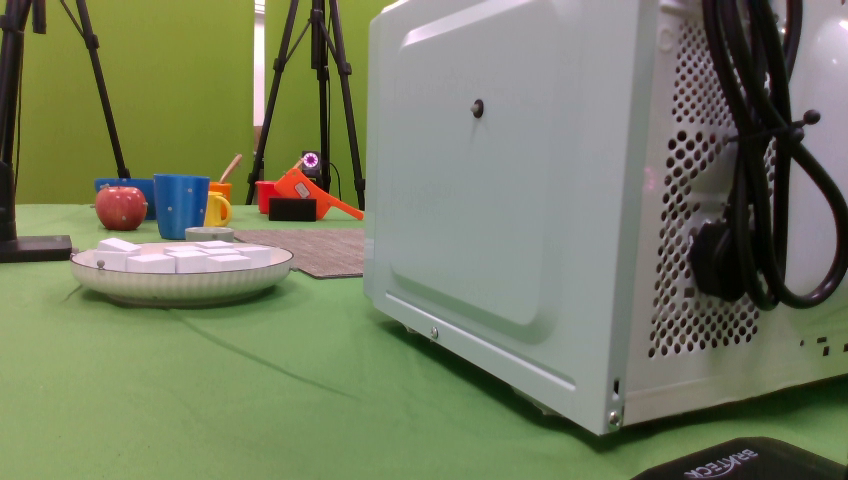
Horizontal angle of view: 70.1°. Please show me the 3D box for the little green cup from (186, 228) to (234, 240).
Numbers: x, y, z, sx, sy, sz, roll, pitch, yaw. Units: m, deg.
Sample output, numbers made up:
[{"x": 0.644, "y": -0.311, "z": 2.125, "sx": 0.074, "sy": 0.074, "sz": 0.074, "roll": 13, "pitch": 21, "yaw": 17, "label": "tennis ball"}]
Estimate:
[{"x": -0.285, "y": 0.005, "z": 0.805, "sx": 0.061, "sy": 0.038, "sz": 0.061, "roll": 2, "pitch": 8, "yaw": 0, "label": "little green cup"}]

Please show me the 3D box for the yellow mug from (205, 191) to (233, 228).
[{"x": -0.415, "y": -0.057, "z": 1.131, "sx": 0.130, "sy": 0.064, "sz": 0.100, "roll": 6, "pitch": 8, "yaw": 16, "label": "yellow mug"}]

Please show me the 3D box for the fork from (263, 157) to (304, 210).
[{"x": -0.345, "y": -0.143, "z": 1.506, "sx": 0.028, "sy": 0.019, "sz": 0.207, "roll": -3, "pitch": 46, "yaw": 28, "label": "fork"}]

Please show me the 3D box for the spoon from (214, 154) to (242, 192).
[{"x": -0.439, "y": -0.124, "z": 1.318, "sx": 0.041, "sy": 0.193, "sz": 0.022, "roll": 5, "pitch": -36, "yaw": 16, "label": "spoon"}]

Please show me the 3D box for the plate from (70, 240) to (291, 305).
[{"x": -0.242, "y": 0.031, "z": 0.618, "sx": 0.208, "sy": 0.039, "sz": 0.207, "roll": 2, "pitch": 8, "yaw": 0, "label": "plate"}]

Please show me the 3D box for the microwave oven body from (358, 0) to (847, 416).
[{"x": 0.210, "y": -0.047, "z": 0.475, "sx": 0.444, "sy": 0.260, "sz": 0.324, "roll": -1, "pitch": 7, "yaw": -28, "label": "microwave oven body"}]

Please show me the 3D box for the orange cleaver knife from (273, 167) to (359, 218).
[{"x": -0.238, "y": -0.090, "z": 1.381, "sx": 0.212, "sy": 0.077, "sz": 0.012, "roll": 31, "pitch": 0, "yaw": -19, "label": "orange cleaver knife"}]

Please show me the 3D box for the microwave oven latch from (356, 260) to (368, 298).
[{"x": -0.020, "y": 0.033, "z": 0.529, "sx": 0.079, "sy": 0.029, "sz": 0.030, "roll": 0, "pitch": 7, "yaw": -24, "label": "microwave oven latch"}]

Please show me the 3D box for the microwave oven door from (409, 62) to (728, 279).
[{"x": 0.163, "y": -0.086, "z": 0.725, "sx": 0.355, "sy": 0.243, "sz": 0.039, "roll": 3, "pitch": 8, "yaw": 7, "label": "microwave oven door"}]

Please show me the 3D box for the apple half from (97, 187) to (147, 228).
[{"x": -0.534, "y": -0.059, "z": 1.071, "sx": 0.082, "sy": 0.081, "sz": 0.032, "roll": -1, "pitch": 11, "yaw": -25, "label": "apple half"}]

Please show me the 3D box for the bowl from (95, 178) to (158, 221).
[{"x": -0.576, "y": -0.081, "z": 1.217, "sx": 0.151, "sy": 0.077, "sz": 0.151, "roll": 3, "pitch": 8, "yaw": 0, "label": "bowl"}]

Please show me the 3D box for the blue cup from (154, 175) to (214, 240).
[{"x": -0.390, "y": -0.053, "z": 0.978, "sx": 0.093, "sy": 0.100, "sz": 0.092, "roll": 3, "pitch": 6, "yaw": 0, "label": "blue cup"}]

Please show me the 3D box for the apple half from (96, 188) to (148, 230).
[{"x": -0.517, "y": -0.052, "z": 1.036, "sx": 0.081, "sy": 0.074, "sz": 0.053, "roll": 2, "pitch": 10, "yaw": -26, "label": "apple half"}]
